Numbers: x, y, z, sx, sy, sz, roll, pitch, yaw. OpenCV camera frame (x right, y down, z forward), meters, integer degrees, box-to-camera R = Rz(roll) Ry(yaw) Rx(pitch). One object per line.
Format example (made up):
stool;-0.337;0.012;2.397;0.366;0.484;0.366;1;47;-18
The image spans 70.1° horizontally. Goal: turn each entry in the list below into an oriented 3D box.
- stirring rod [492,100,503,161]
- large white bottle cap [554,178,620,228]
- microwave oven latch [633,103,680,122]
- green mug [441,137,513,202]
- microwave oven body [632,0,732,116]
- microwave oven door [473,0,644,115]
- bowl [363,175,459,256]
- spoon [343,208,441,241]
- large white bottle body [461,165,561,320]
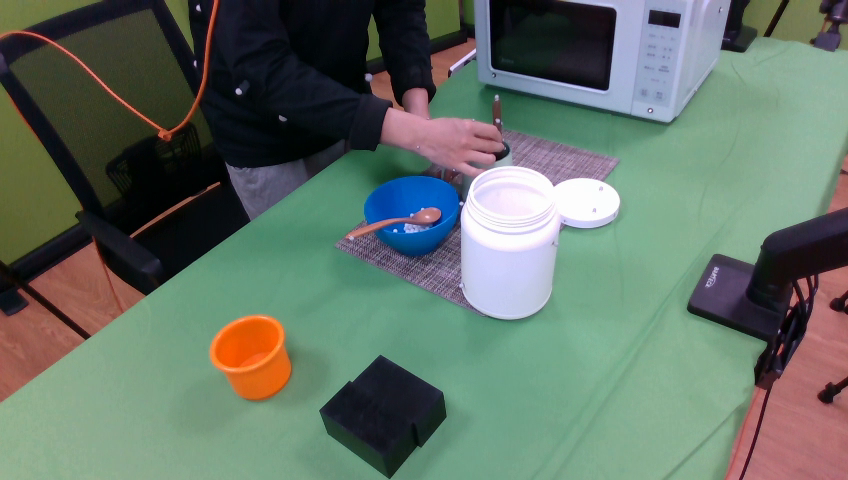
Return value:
stirring rod;0.120;-0.144;0.965;0.014;0.177;0.005;-24;43;-17
large white bottle cap;0.265;-0.063;1.001;0.115;0.018;0.114;-3;42;3
microwave oven latch;0.443;-0.249;1.157;0.078;0.029;0.030;20;48;29
green mug;0.090;-0.108;1.012;0.125;0.105;0.092;2;42;11
microwave oven body;0.377;-0.463;1.267;0.438;0.261;0.327;21;48;30
microwave oven door;0.257;-0.396;1.199;0.353;0.245;0.039;21;48;29
bowl;-0.017;-0.028;0.954;0.151;0.077;0.150;-4;40;4
spoon;-0.046;-0.025;0.911;0.041;0.021;0.195;26;27;37
large white bottle body;0.115;0.004;0.816;0.130;0.185;0.130;-2;43;2
